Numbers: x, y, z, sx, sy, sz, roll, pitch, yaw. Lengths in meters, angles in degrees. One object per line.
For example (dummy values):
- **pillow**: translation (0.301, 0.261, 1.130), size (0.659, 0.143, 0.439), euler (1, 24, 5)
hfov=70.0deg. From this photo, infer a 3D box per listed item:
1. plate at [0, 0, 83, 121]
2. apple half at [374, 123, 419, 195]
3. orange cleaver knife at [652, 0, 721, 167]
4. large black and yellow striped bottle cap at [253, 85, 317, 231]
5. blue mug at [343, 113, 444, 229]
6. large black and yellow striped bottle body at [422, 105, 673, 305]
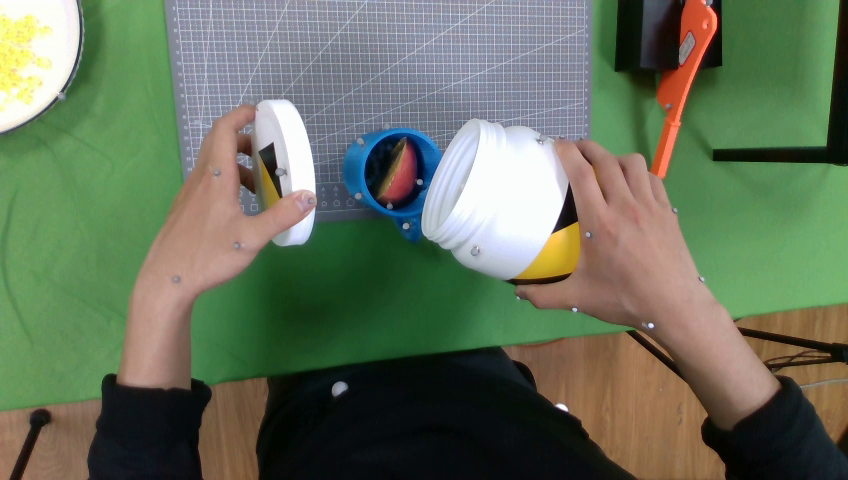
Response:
- **plate**: translation (-0.397, -0.201, 0.504), size (0.210, 0.038, 0.209), euler (-3, 102, -16)
- **apple half**: translation (-0.021, -0.075, 0.599), size (0.033, 0.081, 0.081), euler (28, 91, -11)
- **orange cleaver knife**: translation (0.289, -0.187, 0.692), size (0.012, 0.076, 0.213), euler (-2, 127, -8)
- **large black and yellow striped bottle cap**: translation (-0.113, -0.063, 0.480), size (0.019, 0.114, 0.115), euler (-9, 103, -28)
- **blue mug**: translation (-0.028, -0.067, 0.604), size (0.082, 0.105, 0.117), euler (-20, 105, -12)
- **large black and yellow striped bottle body**: translation (0.103, -0.031, 0.528), size (0.185, 0.130, 0.131), euler (21, 93, -16)
